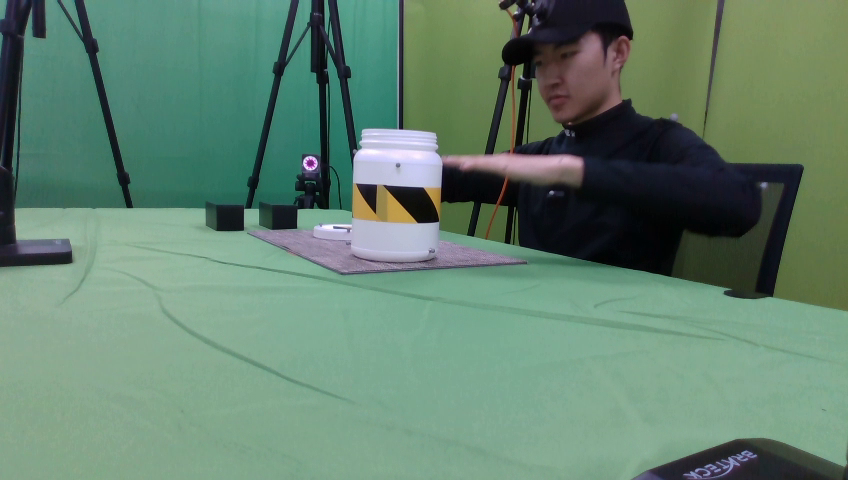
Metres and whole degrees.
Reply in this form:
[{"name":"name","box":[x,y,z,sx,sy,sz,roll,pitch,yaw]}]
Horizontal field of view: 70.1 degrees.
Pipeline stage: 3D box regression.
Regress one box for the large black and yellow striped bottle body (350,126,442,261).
[{"name":"large black and yellow striped bottle body","box":[-0.040,-0.068,0.881,0.131,0.184,0.130,2,7,0]}]

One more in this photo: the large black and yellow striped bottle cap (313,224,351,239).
[{"name":"large black and yellow striped bottle cap","box":[-0.145,-0.016,1.107,0.115,0.019,0.115,3,7,0]}]
